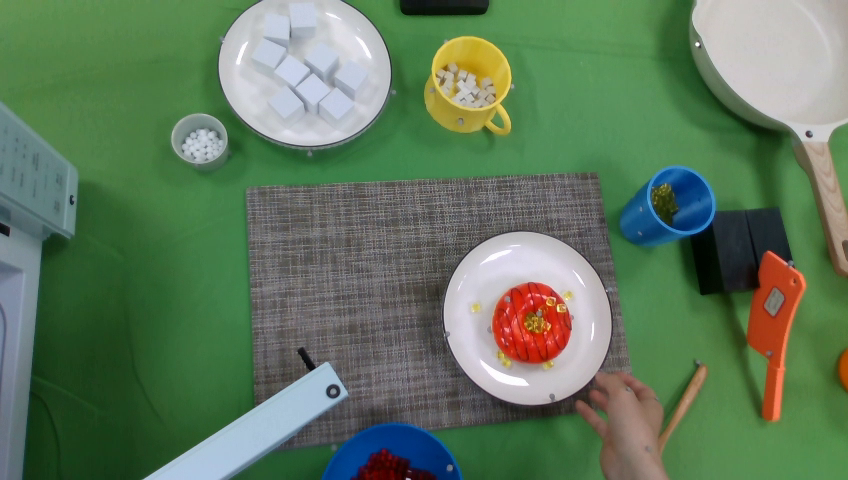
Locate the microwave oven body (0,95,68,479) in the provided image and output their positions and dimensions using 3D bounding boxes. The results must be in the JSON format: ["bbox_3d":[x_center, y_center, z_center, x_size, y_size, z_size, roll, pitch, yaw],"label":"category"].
[{"bbox_3d":[-0.520,0.098,0.502,0.327,0.260,0.439,-1,78,-10],"label":"microwave oven body"}]

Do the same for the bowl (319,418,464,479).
[{"bbox_3d":[-0.037,0.264,0.644,0.152,0.077,0.150,2,77,-8],"label":"bowl"}]

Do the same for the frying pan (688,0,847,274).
[{"bbox_3d":[0.506,-0.189,0.819,0.307,0.103,0.484,1,69,-8],"label":"frying pan"}]

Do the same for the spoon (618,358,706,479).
[{"bbox_3d":[0.296,0.221,0.736,0.041,0.022,0.193,35,74,18],"label":"spoon"}]

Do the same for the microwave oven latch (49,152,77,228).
[{"bbox_3d":[-0.395,-0.054,0.656,0.030,0.029,0.079,1,78,-10],"label":"microwave oven latch"}]

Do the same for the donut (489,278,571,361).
[{"bbox_3d":[0.124,0.094,0.713,0.099,0.048,0.098,1,81,-8],"label":"donut"}]

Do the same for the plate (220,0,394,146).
[{"bbox_3d":[-0.142,-0.211,0.752,0.208,0.039,0.206,2,77,-9],"label":"plate"}]

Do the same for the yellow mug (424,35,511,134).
[{"bbox_3d":[0.064,-0.187,0.766,0.100,0.064,0.130,-41,88,-15],"label":"yellow mug"}]

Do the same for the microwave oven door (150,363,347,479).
[{"bbox_3d":[-0.226,0.217,0.520,0.356,0.244,0.039,-33,84,-15],"label":"microwave oven door"}]

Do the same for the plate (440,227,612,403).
[{"bbox_3d":[0.119,0.088,0.725,0.209,0.038,0.208,2,78,-9],"label":"plate"}]

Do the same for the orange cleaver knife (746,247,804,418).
[{"bbox_3d":[0.427,0.116,0.750,0.012,0.076,0.212,-5,107,-10],"label":"orange cleaver knife"}]

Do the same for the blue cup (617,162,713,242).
[{"bbox_3d":[0.290,-0.038,0.752,0.093,0.100,0.092,3,75,-10],"label":"blue cup"}]

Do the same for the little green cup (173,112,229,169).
[{"bbox_3d":[-0.258,-0.114,0.710,0.062,0.038,0.061,2,78,-10],"label":"little green cup"}]
